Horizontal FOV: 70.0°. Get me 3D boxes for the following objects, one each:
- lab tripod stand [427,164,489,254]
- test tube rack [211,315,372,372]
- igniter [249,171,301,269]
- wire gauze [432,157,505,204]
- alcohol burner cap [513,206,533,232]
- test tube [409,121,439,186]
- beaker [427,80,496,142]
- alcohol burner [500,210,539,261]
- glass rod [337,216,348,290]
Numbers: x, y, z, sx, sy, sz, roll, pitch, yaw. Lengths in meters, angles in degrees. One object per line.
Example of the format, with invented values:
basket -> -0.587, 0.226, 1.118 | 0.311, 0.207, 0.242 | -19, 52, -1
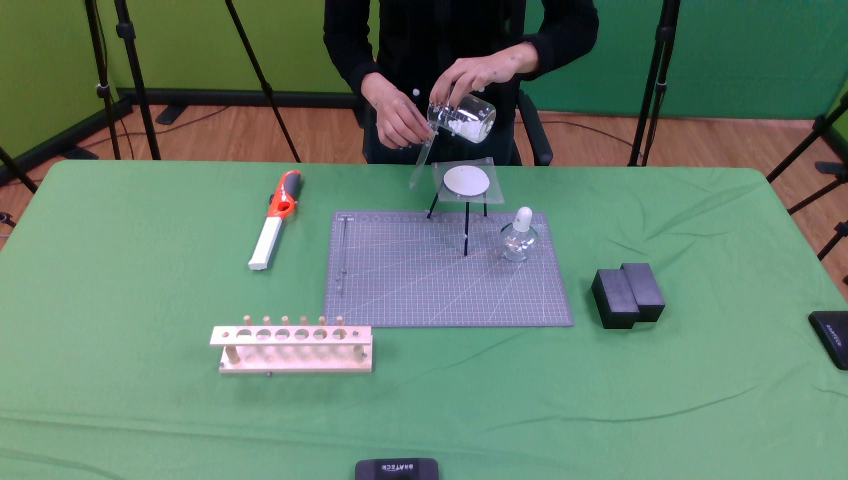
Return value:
lab tripod stand -> 0.078, -0.068, 1.188 | 0.148, 0.132, 0.147 | 3, 47, -3
test tube rack -> -0.208, 0.163, 0.982 | 0.242, 0.085, 0.066 | 1, 46, -4
igniter -> -0.297, -0.049, 1.221 | 0.057, 0.025, 0.275 | -1, 45, 9
wire gauze -> 0.081, -0.112, 1.137 | 0.125, 0.011, 0.120 | -2, 48, -6
alcohol burner cap -> 0.187, -0.042, 1.134 | 0.034, 0.048, 0.033 | 6, 41, -5
test tube -> -0.002, -0.156, 1.123 | 0.017, 0.151, 0.017 | 12, 44, -12
beaker -> 0.065, -0.215, 1.036 | 0.100, 0.084, 0.074 | 29, 41, 16
alcohol burner -> 0.185, -0.016, 1.159 | 0.078, 0.120, 0.077 | 2, 48, -2
glass rod -> -0.158, 0.021, 1.171 | 0.008, 0.008, 0.198 | 1, 43, -2
